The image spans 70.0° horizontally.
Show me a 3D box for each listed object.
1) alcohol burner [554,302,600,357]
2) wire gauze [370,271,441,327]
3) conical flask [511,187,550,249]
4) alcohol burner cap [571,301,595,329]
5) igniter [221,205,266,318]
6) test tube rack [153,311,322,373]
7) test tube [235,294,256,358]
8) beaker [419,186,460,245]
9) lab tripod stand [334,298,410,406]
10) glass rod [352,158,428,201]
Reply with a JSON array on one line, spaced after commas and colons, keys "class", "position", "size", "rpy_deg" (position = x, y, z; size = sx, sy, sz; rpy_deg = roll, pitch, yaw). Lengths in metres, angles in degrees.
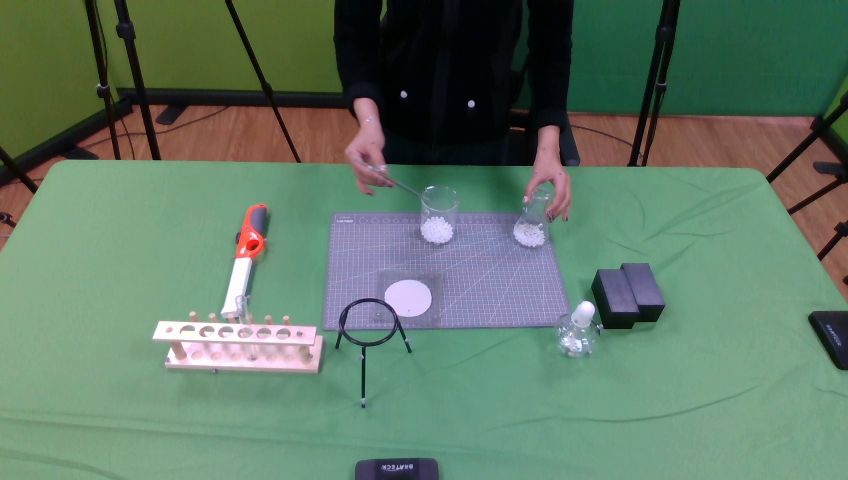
[{"class": "alcohol burner", "position": [0.260, 0.143, 1.018], "size": [0.078, 0.119, 0.077], "rpy_deg": [3, 45, -3]}, {"class": "wire gauze", "position": [-0.032, 0.103, 1.104], "size": [0.125, 0.011, 0.121], "rpy_deg": [4, 46, 3]}, {"class": "conical flask", "position": [0.217, -0.048, 1.190], "size": [0.075, 0.122, 0.075], "rpy_deg": [2, 46, -2]}, {"class": "alcohol burner cap", "position": [0.262, 0.120, 0.991], "size": [0.034, 0.048, 0.033], "rpy_deg": [2, 52, -2]}, {"class": "igniter", "position": [-0.337, 0.031, 1.140], "size": [0.057, 0.025, 0.274], "rpy_deg": [-5, 46, 3]}, {"class": "test tube rack", "position": [-0.293, 0.160, 0.978], "size": [0.242, 0.085, 0.066], "rpy_deg": [3, 46, -2]}, {"class": "test tube", "position": [-0.274, 0.136, 0.933], "size": [0.017, 0.151, 0.017], "rpy_deg": [4, 46, -4]}, {"class": "beaker", "position": [0.025, -0.047, 1.190], "size": [0.074, 0.101, 0.083], "rpy_deg": [-29, 54, -29]}, {"class": "lab tripod stand", "position": [-0.086, 0.164, 0.957], "size": [0.148, 0.132, 0.147], "rpy_deg": [3, 44, -2]}, {"class": "glass rod", "position": [-0.055, -0.104, 1.075], "size": [0.201, 0.008, 0.008], "rpy_deg": [25, 25, -47]}]
